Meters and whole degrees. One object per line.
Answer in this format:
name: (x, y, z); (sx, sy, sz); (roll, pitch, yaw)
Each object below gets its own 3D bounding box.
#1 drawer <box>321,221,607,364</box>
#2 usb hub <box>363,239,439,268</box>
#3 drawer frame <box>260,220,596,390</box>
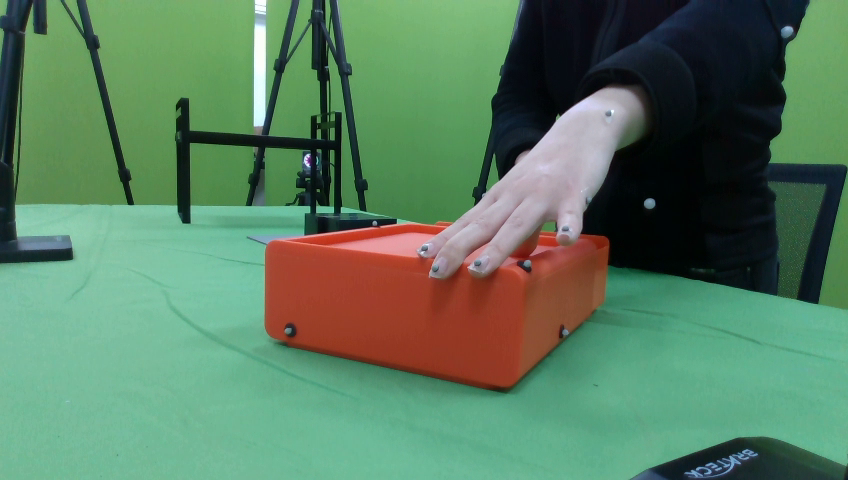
drawer: (0.046, 0.036, 0.551); (0.194, 0.073, 0.212); (7, 11, 27)
usb hub: (-0.029, 0.017, 0.828); (0.049, 0.025, 0.126); (5, 7, 29)
drawer frame: (0.016, 0.036, 0.494); (0.201, 0.082, 0.214); (6, 9, 26)
